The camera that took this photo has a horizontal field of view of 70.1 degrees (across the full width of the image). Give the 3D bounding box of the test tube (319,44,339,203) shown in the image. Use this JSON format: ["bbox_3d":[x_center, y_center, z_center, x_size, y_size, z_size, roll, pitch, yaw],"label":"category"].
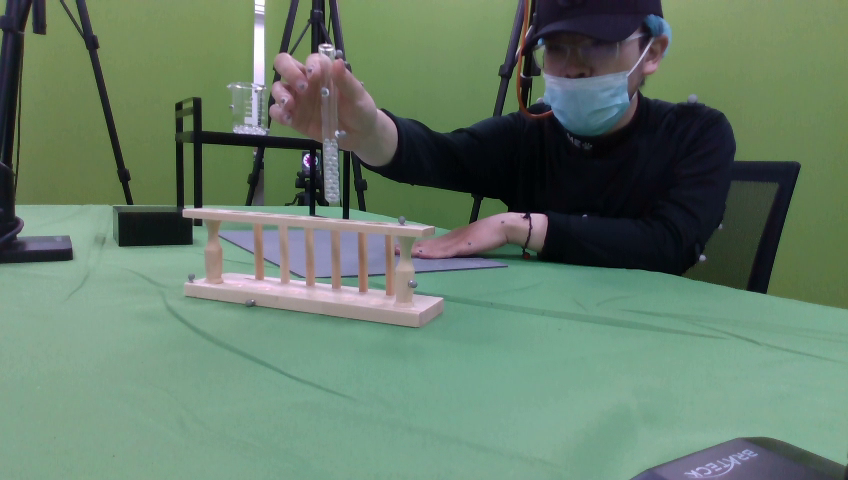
[{"bbox_3d":[-0.090,-0.110,0.574,0.017,0.150,0.017,-1,1,0],"label":"test tube"}]

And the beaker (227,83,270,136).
[{"bbox_3d":[-0.354,-0.262,1.224,0.084,0.100,0.073,-2,8,-28],"label":"beaker"}]

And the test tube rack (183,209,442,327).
[{"bbox_3d":[-0.106,0.019,0.570,0.241,0.085,0.067,5,7,20],"label":"test tube rack"}]
